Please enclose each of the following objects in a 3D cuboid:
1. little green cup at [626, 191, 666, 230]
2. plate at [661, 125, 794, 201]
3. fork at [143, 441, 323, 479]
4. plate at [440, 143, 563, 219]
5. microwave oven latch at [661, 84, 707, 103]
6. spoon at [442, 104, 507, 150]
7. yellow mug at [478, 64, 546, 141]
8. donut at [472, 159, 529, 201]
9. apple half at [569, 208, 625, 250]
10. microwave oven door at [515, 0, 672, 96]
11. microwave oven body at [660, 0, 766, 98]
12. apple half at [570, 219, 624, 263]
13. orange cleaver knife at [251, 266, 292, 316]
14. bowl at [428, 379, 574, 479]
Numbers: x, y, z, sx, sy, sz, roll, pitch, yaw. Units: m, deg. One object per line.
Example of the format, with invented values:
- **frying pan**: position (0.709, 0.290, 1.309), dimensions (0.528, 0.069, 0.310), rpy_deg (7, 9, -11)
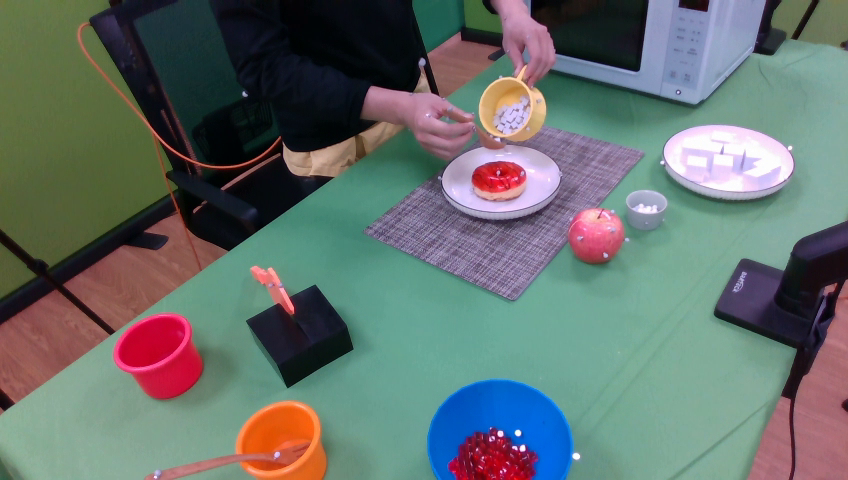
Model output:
- **little green cup**: position (0.352, -0.046, 0.963), dimensions (0.061, 0.039, 0.061), rpy_deg (-4, 40, 4)
- **plate**: position (0.513, -0.128, 1.035), dimensions (0.207, 0.039, 0.206), rpy_deg (-4, 40, 4)
- **fork**: position (-0.189, 0.231, 0.631), dimensions (0.028, 0.018, 0.209), rpy_deg (35, 13, 37)
- **plate**: position (0.134, -0.098, 1.051), dimensions (0.209, 0.038, 0.208), rpy_deg (-4, 40, 4)
- **microwave oven latch**: position (0.517, -0.296, 1.204), dimensions (0.078, 0.029, 0.030), rpy_deg (27, 52, 35)
- **spoon**: position (0.076, -0.170, 0.922), dimensions (0.041, 0.195, 0.021), rpy_deg (5, 80, 32)
- **yellow mug**: position (0.157, -0.239, 1.039), dimensions (0.099, 0.131, 0.064), rpy_deg (28, 15, 26)
- **donut**: position (0.132, -0.105, 1.043), dimensions (0.099, 0.048, 0.098), rpy_deg (-5, 38, 4)
- **apple half**: position (0.262, -0.014, 0.913), dimensions (0.080, 0.075, 0.053), rpy_deg (5, 37, 20)
- **microwave oven door**: position (0.343, -0.455, 1.259), dimensions (0.353, 0.245, 0.039), rpy_deg (26, 51, 33)
- **microwave oven body**: position (0.472, -0.513, 1.317), dimensions (0.438, 0.261, 0.327), rpy_deg (26, 51, 34)
- **apple half**: position (0.250, 0.009, 0.885), dimensions (0.081, 0.081, 0.033), rpy_deg (7, 39, 17)
- **orange cleaver knife**: position (-0.221, 0.071, 0.873), dimensions (0.012, 0.077, 0.210), rpy_deg (-25, 11, -21)
- **bowl**: position (0.082, 0.233, 0.644), dimensions (0.151, 0.077, 0.150), rpy_deg (-4, 40, 4)
